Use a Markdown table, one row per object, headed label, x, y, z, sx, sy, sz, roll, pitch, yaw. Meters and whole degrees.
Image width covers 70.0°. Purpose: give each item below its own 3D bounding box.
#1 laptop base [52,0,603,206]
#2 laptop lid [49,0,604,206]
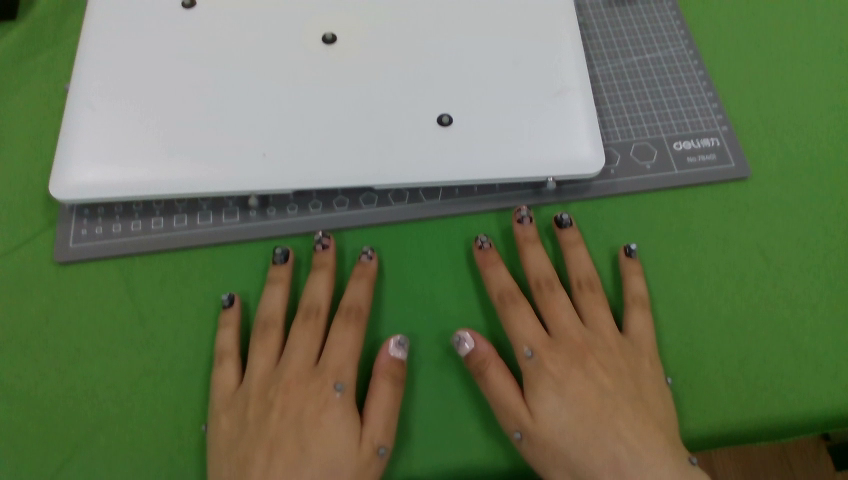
| label | x | y | z | sx | sy | sz | roll | pitch | yaw |
| --- | --- | --- | --- | --- | --- | --- | --- | --- | --- |
| laptop base | -0.065 | -0.134 | 0.435 | 0.354 | 0.023 | 0.233 | -3 | 68 | -2 |
| laptop lid | -0.065 | -0.137 | 0.424 | 0.357 | 0.013 | 0.240 | -2 | 67 | -2 |
